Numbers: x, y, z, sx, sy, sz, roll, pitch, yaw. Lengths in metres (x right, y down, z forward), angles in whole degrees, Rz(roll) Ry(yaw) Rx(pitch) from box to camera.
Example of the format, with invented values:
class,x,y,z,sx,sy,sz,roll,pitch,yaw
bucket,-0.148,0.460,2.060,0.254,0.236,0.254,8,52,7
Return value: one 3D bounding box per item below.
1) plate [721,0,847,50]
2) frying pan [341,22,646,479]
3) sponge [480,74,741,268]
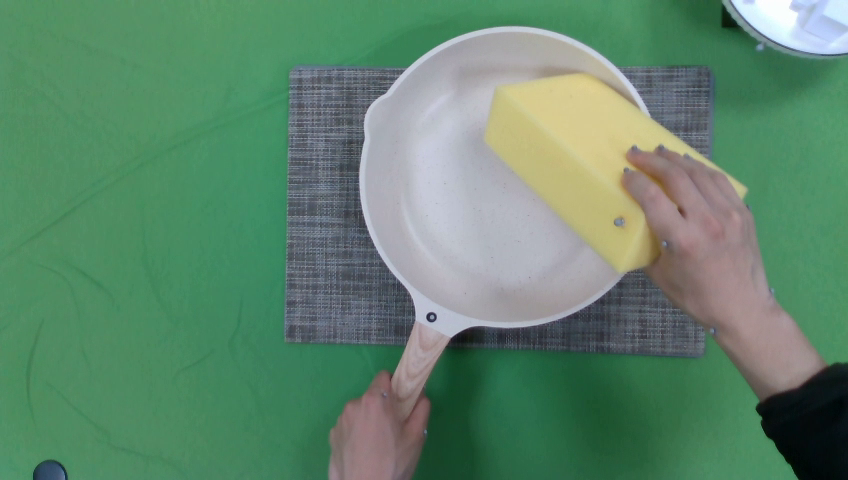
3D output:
class,x,y,z,sx,sy,sz,roll,pitch,yaw
plate,0.364,-0.278,0.565,0.207,0.039,0.207,0,91,3
frying pan,0.033,0.028,0.605,0.306,0.103,0.487,26,84,5
sponge,0.156,-0.074,0.544,0.118,0.061,0.204,-13,45,-26
